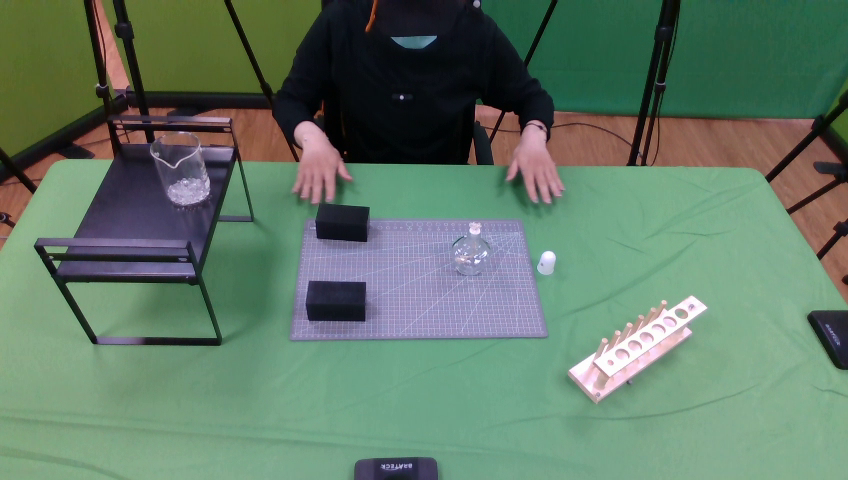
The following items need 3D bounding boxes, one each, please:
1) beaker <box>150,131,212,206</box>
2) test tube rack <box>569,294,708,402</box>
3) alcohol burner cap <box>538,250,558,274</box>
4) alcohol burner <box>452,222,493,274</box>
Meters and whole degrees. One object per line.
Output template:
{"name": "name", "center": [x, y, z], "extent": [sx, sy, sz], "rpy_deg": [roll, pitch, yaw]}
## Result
{"name": "beaker", "center": [-0.385, -0.110, 0.969], "extent": [0.074, 0.101, 0.083], "rpy_deg": [-6, 48, -9]}
{"name": "test tube rack", "center": [0.360, 0.167, 1.014], "extent": [0.242, 0.085, 0.066], "rpy_deg": [-25, 52, -25]}
{"name": "alcohol burner cap", "center": [0.238, 0.039, 1.159], "extent": [0.034, 0.048, 0.033], "rpy_deg": [3, 46, -3]}
{"name": "alcohol burner", "center": [0.091, 0.008, 1.124], "extent": [0.078, 0.119, 0.077], "rpy_deg": [2, 48, -2]}
